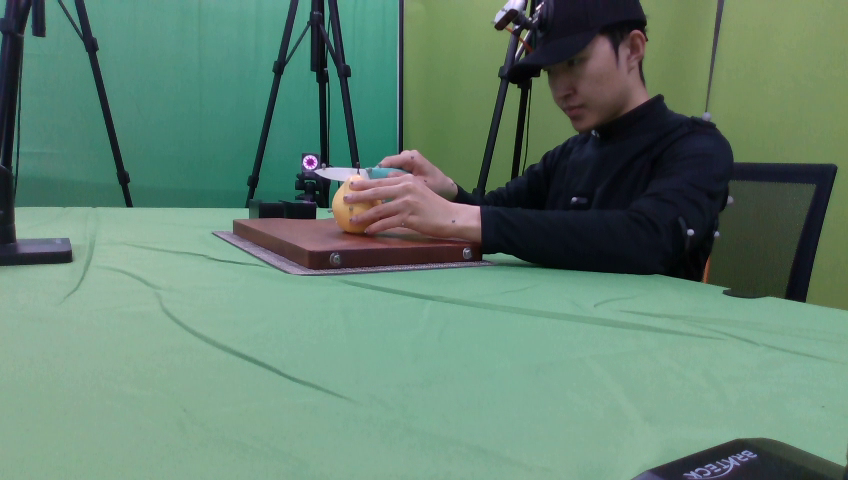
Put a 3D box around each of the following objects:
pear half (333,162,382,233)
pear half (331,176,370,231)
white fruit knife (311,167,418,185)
[{"bbox_3d":[-0.096,-0.064,0.926,0.077,0.110,0.055,-13,18,-43],"label":"pear half"},{"bbox_3d":[-0.121,-0.058,0.955,0.031,0.088,0.071,8,17,44],"label":"pear half"},{"bbox_3d":[-0.088,-0.103,0.955,0.208,0.027,0.016,-3,8,-43],"label":"white fruit knife"}]
